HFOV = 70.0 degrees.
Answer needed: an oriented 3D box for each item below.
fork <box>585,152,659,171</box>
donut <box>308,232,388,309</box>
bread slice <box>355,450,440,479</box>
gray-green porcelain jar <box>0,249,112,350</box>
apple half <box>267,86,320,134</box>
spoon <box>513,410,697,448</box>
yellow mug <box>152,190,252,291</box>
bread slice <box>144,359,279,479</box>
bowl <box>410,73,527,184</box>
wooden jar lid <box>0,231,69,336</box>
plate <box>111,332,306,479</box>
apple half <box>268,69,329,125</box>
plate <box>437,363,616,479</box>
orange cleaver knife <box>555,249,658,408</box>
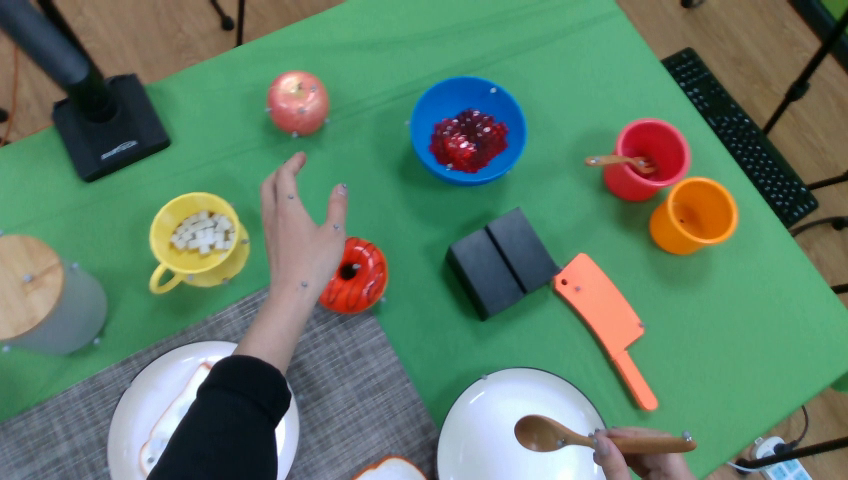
[{"bbox_3d":[0.255,-0.103,0.772,0.208,0.018,0.028,-6,67,-51],"label":"fork"},{"bbox_3d":[-0.093,0.037,0.746,0.099,0.048,0.098,2,73,-6],"label":"donut"},{"bbox_3d":[-0.037,0.294,0.650,0.134,0.018,0.106,-31,74,-34],"label":"bread slice"},{"bbox_3d":[-0.418,0.064,0.669,0.106,0.127,0.105,2,72,-4],"label":"gray-green porcelain jar"},{"bbox_3d":[-0.175,-0.159,0.788,0.081,0.081,0.032,26,67,4],"label":"apple half"},{"bbox_3d":[0.149,0.171,0.531,0.021,0.193,0.042,-30,96,-34],"label":"spoon"},{"bbox_3d":[-0.276,0.009,0.731,0.099,0.064,0.130,36,73,7],"label":"yellow mug"},{"bbox_3d":[-0.245,0.215,0.682,0.104,0.019,0.131,33,72,6],"label":"bread slice"},{"bbox_3d":[0.054,-0.134,0.800,0.151,0.077,0.150,2,73,-5],"label":"bowl"},{"bbox_3d":[-0.413,0.044,0.610,0.108,0.021,0.107,1,71,-3],"label":"wooden jar lid"},{"bbox_3d":[-0.237,0.209,0.682,0.208,0.039,0.206,2,73,-5],"label":"plate"},{"bbox_3d":[-0.159,-0.192,0.801,0.080,0.075,0.053,25,66,7],"label":"apple half"},{"bbox_3d":[0.117,0.250,0.706,0.209,0.038,0.208,2,72,-5],"label":"plate"},{"bbox_3d":[0.244,0.109,0.773,0.077,0.012,0.210,-26,75,-19],"label":"orange cleaver knife"}]
